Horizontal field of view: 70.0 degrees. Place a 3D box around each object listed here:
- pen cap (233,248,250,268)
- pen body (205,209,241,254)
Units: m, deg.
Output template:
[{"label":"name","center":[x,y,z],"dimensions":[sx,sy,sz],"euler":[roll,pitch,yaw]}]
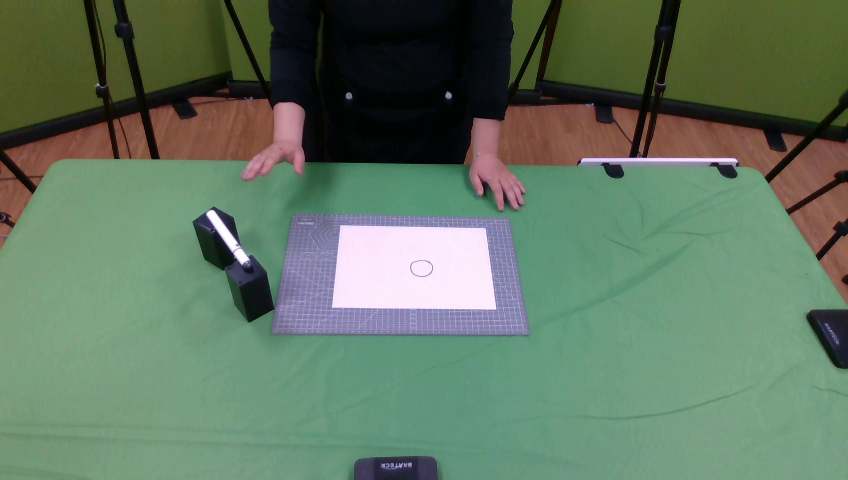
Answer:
[{"label":"pen cap","center":[-0.303,0.031,1.008],"dimensions":[0.017,0.017,0.038],"euler":[-28,56,-28]},{"label":"pen body","center":[-0.340,-0.006,1.042],"dimensions":[0.017,0.017,0.143],"euler":[-27,53,-27]}]
